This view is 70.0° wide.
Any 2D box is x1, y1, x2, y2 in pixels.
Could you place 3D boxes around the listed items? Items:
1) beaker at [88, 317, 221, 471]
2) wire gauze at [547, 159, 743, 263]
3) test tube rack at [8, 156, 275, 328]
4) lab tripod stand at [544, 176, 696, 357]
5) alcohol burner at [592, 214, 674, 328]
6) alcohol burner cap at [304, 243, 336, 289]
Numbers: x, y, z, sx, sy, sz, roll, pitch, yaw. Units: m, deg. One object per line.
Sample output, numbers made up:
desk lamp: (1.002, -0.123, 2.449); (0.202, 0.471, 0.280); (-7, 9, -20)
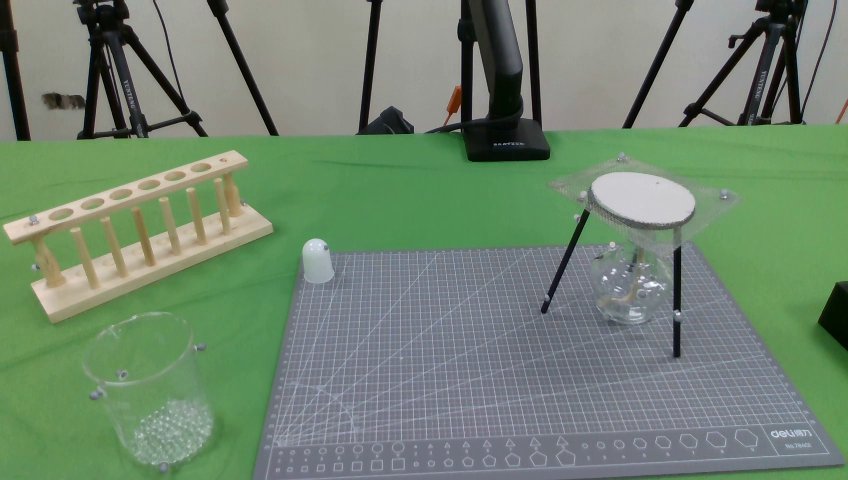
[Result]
beaker: (-0.201, 0.118, 0.460); (0.083, 0.101, 0.074); (24, 41, 31)
wire gauze: (0.189, -0.035, 0.523); (0.122, 0.011, 0.124); (-24, 43, -31)
test tube rack: (-0.290, -0.006, 0.654); (0.242, 0.086, 0.066); (-27, 42, -33)
lab tripod stand: (0.194, 0.020, 0.562); (0.148, 0.132, 0.147); (1, 35, -1)
alcohol burner: (0.201, 0.024, 0.573); (0.078, 0.120, 0.077); (0, 37, 0)
alcohol burner cap: (-0.111, 0.025, 0.640); (0.034, 0.048, 0.033); (0, 35, 0)
